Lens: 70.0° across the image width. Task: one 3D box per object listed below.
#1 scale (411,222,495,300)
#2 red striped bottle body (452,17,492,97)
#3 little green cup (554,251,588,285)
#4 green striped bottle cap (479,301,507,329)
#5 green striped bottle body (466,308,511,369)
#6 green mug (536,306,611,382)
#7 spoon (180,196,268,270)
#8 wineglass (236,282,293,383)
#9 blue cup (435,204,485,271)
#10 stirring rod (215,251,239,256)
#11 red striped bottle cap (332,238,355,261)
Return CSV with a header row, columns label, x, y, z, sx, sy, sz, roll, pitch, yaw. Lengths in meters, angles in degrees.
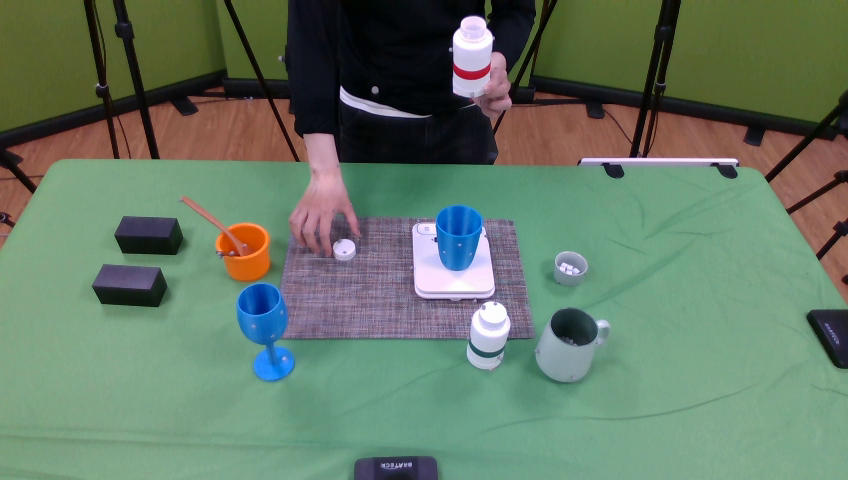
label,x,y,z,sx,sy,sz,roll,pitch,yaw
scale,0.052,0.031,1.158,0.149,0.032,0.199,1,46,-4
red striped bottle body,0.077,-0.295,0.975,0.063,0.120,0.062,-1,55,2
little green cup,0.276,0.055,1.151,0.061,0.039,0.061,1,46,-1
green striped bottle cap,0.109,0.117,0.950,0.044,0.020,0.044,2,48,-2
green striped bottle body,0.106,0.154,0.988,0.063,0.120,0.063,2,46,-2
green mug,0.250,0.167,0.996,0.125,0.105,0.092,-15,49,-19
spoon,-0.360,-0.014,1.094,0.021,0.194,0.041,-27,26,31
wineglass,-0.243,0.143,0.934,0.074,0.173,0.073,2,46,-2
blue cup,0.061,0.001,1.097,0.092,0.101,0.092,0,44,0
stirring rod,-0.339,0.024,1.059,0.014,0.176,0.006,16,86,-6
red striped bottle cap,-0.155,0.018,1.166,0.044,0.018,0.044,0,48,0
